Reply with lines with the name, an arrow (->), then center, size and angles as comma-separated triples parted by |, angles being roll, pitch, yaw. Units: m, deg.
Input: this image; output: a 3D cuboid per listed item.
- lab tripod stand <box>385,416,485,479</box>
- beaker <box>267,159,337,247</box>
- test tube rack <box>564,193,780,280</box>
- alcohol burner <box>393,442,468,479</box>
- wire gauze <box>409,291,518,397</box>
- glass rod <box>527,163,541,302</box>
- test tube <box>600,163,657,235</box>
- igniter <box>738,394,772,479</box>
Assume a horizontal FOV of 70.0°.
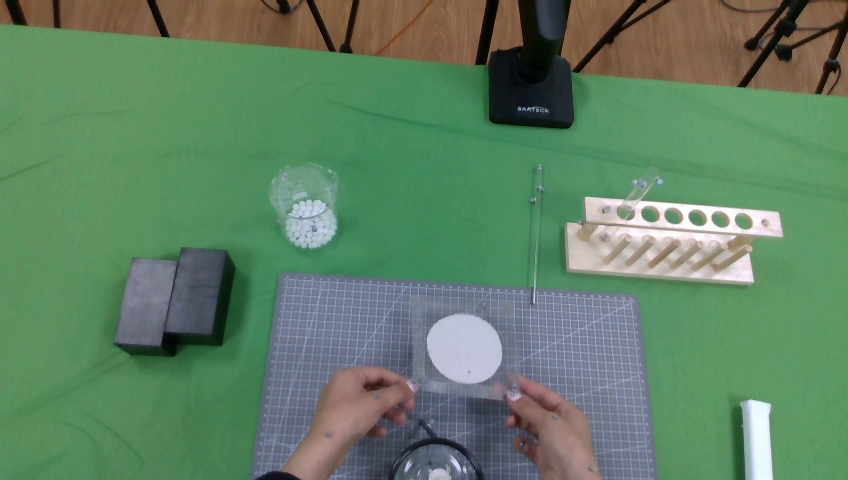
lab tripod stand -> 0.004, 0.241, 0.600 | 0.148, 0.132, 0.147 | 1, 66, -3
beaker -> -0.140, -0.041, 0.726 | 0.084, 0.101, 0.073 | -33, 74, -18
test tube rack -> 0.308, -0.002, 0.762 | 0.243, 0.085, 0.066 | 4, 66, -4
alcohol burner -> 0.009, 0.239, 0.612 | 0.078, 0.120, 0.077 | 3, 65, -6
wire gauze -> 0.043, 0.114, 0.684 | 0.125, 0.011, 0.120 | 6, 56, -7
glass rod -> 0.144, -0.013, 0.791 | 0.008, 0.008, 0.198 | 9, 68, -2
test tube -> 0.239, -0.045, 0.719 | 0.017, 0.151, 0.017 | 2, 63, -3
igniter -> 0.370, 0.311, 0.668 | 0.057, 0.025, 0.274 | 15, 66, -10
